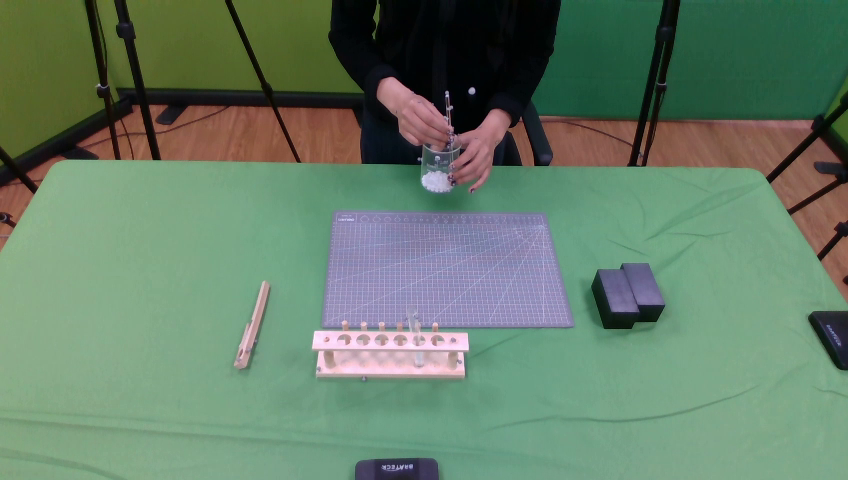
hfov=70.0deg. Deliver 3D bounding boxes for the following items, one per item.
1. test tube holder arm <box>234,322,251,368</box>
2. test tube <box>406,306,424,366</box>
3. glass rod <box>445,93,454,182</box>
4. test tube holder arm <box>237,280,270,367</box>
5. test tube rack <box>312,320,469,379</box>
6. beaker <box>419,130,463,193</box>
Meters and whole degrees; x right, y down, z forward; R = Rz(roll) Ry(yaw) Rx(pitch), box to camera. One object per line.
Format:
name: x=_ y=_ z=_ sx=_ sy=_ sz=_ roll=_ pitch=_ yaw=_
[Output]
test tube holder arm: x=-0.299 y=0.173 z=1.013 sx=0.010 sy=0.015 sz=0.087 roll=-17 pitch=41 yaw=22
test tube: x=-0.013 y=0.152 z=0.939 sx=0.017 sy=0.151 sz=0.017 roll=-3 pitch=48 yaw=3
glass rod: x=0.047 y=-0.180 z=1.097 sx=0.008 sy=0.201 sz=0.008 roll=-3 pitch=47 yaw=3
test tube holder arm: x=-0.291 y=0.140 z=1.042 sx=0.013 sy=0.015 sz=0.177 roll=-17 pitch=41 yaw=22
test tube rack: x=-0.054 y=0.173 z=0.984 sx=0.242 sy=0.085 sz=0.066 roll=1 pitch=46 yaw=-3
beaker: x=0.027 y=-0.148 z=1.148 sx=0.084 sy=0.101 sz=0.073 roll=16 pitch=43 yaw=13
